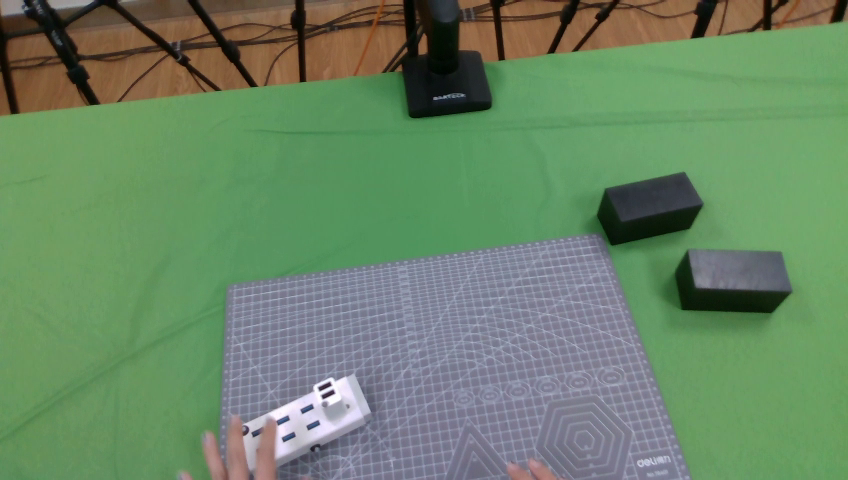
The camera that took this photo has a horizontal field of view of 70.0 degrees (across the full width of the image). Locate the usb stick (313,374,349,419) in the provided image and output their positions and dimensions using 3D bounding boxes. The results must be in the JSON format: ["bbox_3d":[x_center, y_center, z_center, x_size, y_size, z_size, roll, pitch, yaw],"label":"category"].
[{"bbox_3d":[-0.089,0.154,0.587,0.021,0.060,0.027,-26,57,-12],"label":"usb stick"}]

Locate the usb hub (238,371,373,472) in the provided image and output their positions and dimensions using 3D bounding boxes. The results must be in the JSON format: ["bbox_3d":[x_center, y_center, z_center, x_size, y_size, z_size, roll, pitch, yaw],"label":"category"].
[{"bbox_3d":[-0.118,0.180,0.607,0.125,0.025,0.049,-23,58,-13],"label":"usb hub"}]
